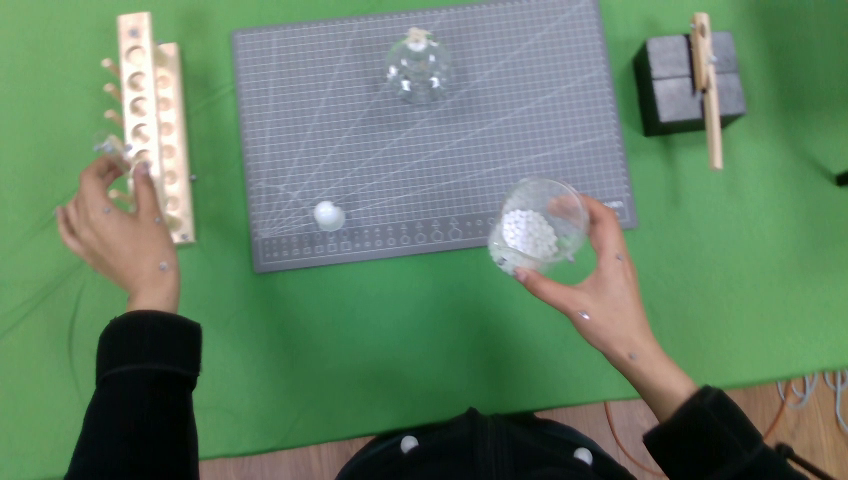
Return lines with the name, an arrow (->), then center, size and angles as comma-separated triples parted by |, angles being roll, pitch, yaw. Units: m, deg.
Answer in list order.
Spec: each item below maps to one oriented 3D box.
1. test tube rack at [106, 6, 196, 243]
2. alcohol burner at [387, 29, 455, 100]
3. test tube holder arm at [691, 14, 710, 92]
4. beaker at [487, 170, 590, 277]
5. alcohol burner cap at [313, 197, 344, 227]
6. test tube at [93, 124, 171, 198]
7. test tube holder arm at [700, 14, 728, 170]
test tube rack -> -0.311, -0.124, 0.676 | 0.067, 0.085, 0.241 | -7, 82, -1
alcohol burner -> -0.004, -0.203, 0.674 | 0.078, 0.119, 0.077 | 0, 83, 1
test tube holder arm -> 0.313, -0.211, 0.683 | 0.010, 0.015, 0.087 | -4, 84, 1
beaker -> 0.094, -0.007, 0.539 | 0.084, 0.100, 0.073 | -30, 79, -9
alcohol burner cap -> -0.110, -0.034, 0.686 | 0.034, 0.048, 0.033 | 0, 81, -1
test tube -> -0.281, -0.072, 0.594 | 0.017, 0.151, 0.017 | 1, 73, -2
test tube holder arm -> 0.323, -0.166, 0.678 | 0.013, 0.015, 0.178 | -6, 84, 0
